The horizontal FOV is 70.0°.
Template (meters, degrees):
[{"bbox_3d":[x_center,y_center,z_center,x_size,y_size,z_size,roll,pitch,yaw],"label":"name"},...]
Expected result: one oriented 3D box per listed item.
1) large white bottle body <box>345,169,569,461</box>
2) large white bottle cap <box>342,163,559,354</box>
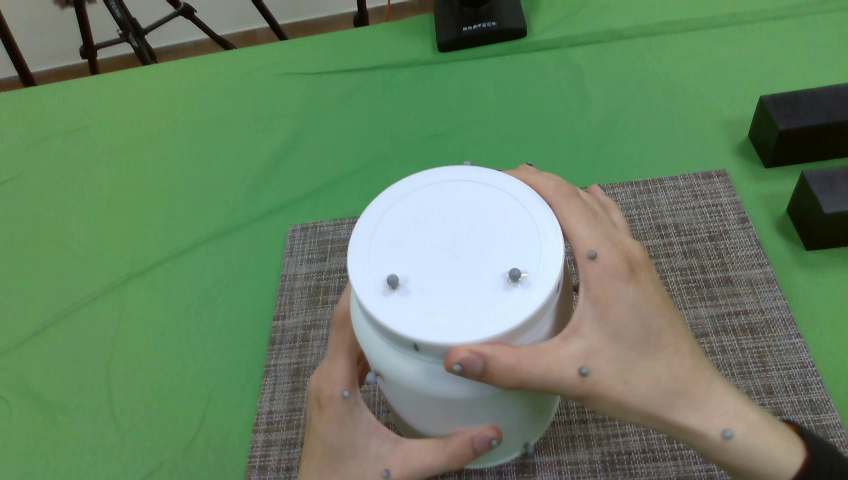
[{"bbox_3d":[0.024,0.054,0.390,0.130,0.186,0.129,-4,55,6],"label":"large white bottle body"},{"bbox_3d":[0.013,0.005,0.322,0.115,0.018,0.113,-3,54,5],"label":"large white bottle cap"}]
